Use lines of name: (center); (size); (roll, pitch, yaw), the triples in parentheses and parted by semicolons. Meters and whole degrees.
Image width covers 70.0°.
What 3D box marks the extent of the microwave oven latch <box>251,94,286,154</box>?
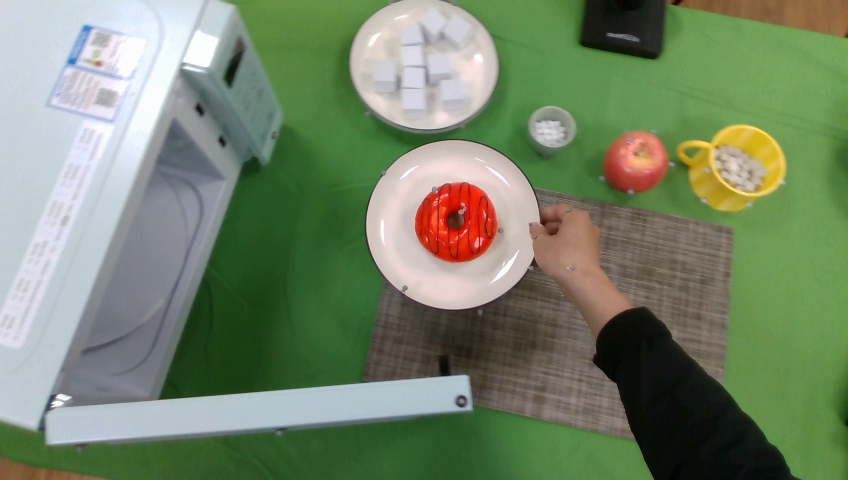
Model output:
microwave oven latch: (-0.209, -0.156, 0.804); (0.030, 0.029, 0.079); (18, 76, 2)

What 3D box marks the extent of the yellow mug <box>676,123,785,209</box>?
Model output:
yellow mug: (0.405, -0.104, 0.817); (0.130, 0.064, 0.099); (22, 76, 5)

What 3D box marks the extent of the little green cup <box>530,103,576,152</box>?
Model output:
little green cup: (0.176, -0.153, 0.836); (0.061, 0.039, 0.061); (0, 75, -1)

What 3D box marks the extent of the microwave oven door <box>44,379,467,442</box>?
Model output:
microwave oven door: (-0.140, 0.169, 0.619); (0.356, 0.245, 0.039); (-4, 74, -3)

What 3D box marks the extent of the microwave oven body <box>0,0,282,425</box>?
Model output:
microwave oven body: (-0.395, -0.053, 0.672); (0.326, 0.261, 0.440); (15, 76, 2)

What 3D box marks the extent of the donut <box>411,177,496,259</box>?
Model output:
donut: (0.034, -0.026, 0.709); (0.099, 0.048, 0.098); (-1, 82, 5)

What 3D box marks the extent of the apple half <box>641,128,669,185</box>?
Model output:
apple half: (0.306, -0.113, 0.811); (0.033, 0.081, 0.081); (-15, 76, -1)

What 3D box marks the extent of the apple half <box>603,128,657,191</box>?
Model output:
apple half: (0.268, -0.103, 0.809); (0.053, 0.075, 0.080); (-15, 80, -1)

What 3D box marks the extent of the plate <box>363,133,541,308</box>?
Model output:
plate: (0.032, -0.023, 0.720); (0.209, 0.038, 0.208); (-1, 80, 3)

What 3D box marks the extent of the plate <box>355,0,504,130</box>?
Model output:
plate: (0.007, -0.247, 0.854); (0.208, 0.039, 0.206); (1, 76, -2)
